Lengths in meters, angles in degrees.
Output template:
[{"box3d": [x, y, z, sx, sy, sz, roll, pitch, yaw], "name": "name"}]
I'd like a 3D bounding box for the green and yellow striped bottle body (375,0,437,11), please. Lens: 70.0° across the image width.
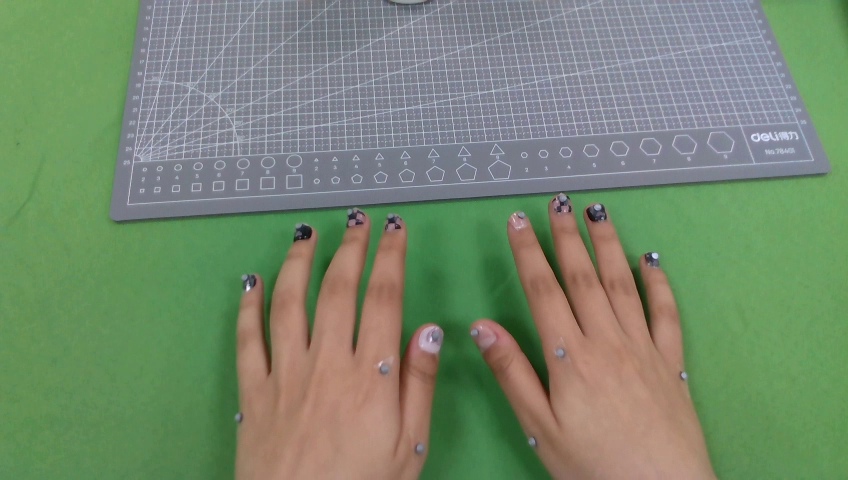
[{"box3d": [-0.013, -0.218, 0.397, 0.063, 0.120, 0.062, 1, 64, -1], "name": "green and yellow striped bottle body"}]
